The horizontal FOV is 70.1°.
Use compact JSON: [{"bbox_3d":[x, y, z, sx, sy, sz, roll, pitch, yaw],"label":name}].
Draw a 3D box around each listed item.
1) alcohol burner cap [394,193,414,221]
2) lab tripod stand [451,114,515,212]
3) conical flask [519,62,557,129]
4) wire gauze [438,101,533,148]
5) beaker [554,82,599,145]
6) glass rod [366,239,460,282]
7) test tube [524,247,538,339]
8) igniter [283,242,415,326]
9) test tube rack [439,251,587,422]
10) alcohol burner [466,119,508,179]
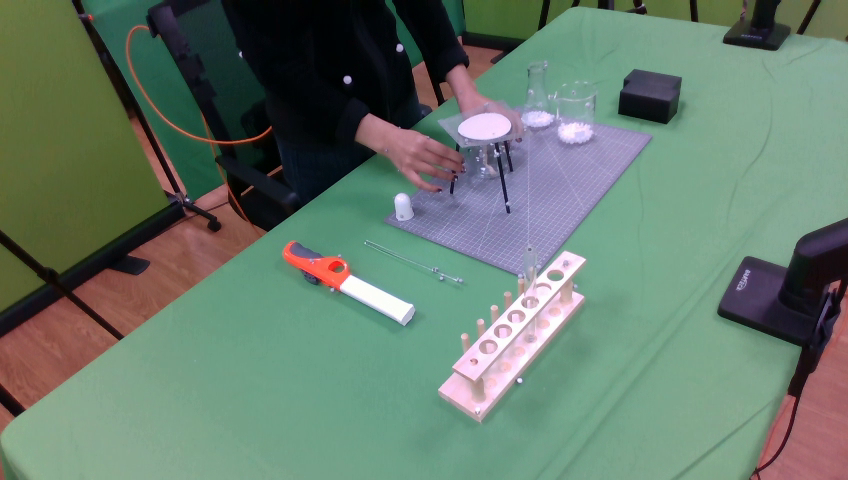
[{"bbox_3d":[-0.036,-0.059,1.040,0.034,0.048,0.033,-5,41,5],"label":"alcohol burner cap"},{"bbox_3d":[0.112,-0.139,1.035,0.148,0.132,0.147,-6,38,5],"label":"lab tripod stand"},{"bbox_3d":[0.225,-0.287,1.198,0.075,0.122,0.075,-6,40,5],"label":"conical flask"},{"bbox_3d":[0.098,-0.189,0.992,0.125,0.011,0.120,-16,39,-9],"label":"wire gauze"},{"bbox_3d":[0.286,-0.236,1.144,0.084,0.101,0.073,-17,40,-7],"label":"beaker"},{"bbox_3d":[-0.022,0.032,0.961,0.198,0.008,0.008,21,49,35],"label":"glass rod"},{"bbox_3d":[0.133,0.070,0.749,0.017,0.151,0.017,-5,38,4],"label":"test tube"},{"bbox_3d":[-0.126,0.062,0.931,0.274,0.025,0.057,24,61,33],"label":"igniter"},{"bbox_3d":[0.118,0.111,0.780,0.066,0.085,0.243,26,51,34],"label":"test tube rack"},{"bbox_3d":[0.114,-0.172,1.090,0.078,0.119,0.077,-5,39,4],"label":"alcohol burner"}]
